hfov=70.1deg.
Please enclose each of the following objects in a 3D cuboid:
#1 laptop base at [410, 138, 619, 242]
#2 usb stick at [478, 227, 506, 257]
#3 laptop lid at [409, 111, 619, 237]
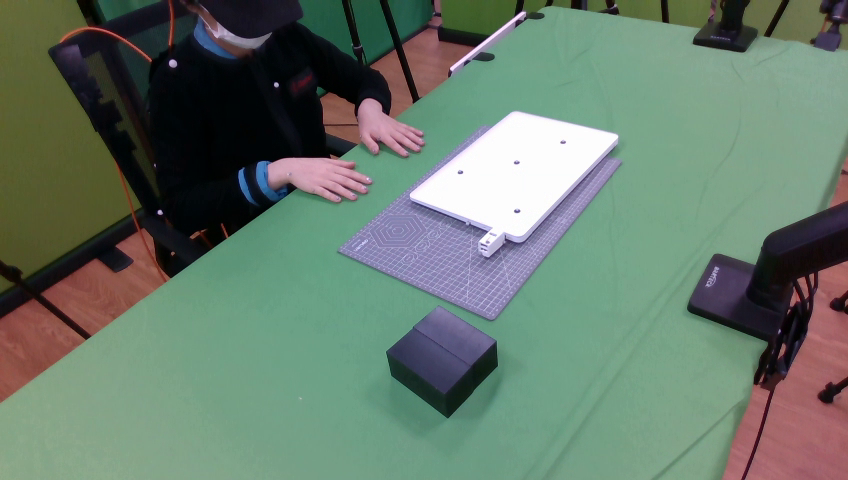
[{"bbox_3d":[0.170,-0.127,1.096,0.233,0.023,0.355,21,47,34],"label":"laptop base"},{"bbox_3d":[0.109,-0.001,0.934,0.021,0.027,0.059,22,43,33],"label":"usb stick"},{"bbox_3d":[0.167,-0.137,1.089,0.239,0.013,0.358,24,48,34],"label":"laptop lid"}]
